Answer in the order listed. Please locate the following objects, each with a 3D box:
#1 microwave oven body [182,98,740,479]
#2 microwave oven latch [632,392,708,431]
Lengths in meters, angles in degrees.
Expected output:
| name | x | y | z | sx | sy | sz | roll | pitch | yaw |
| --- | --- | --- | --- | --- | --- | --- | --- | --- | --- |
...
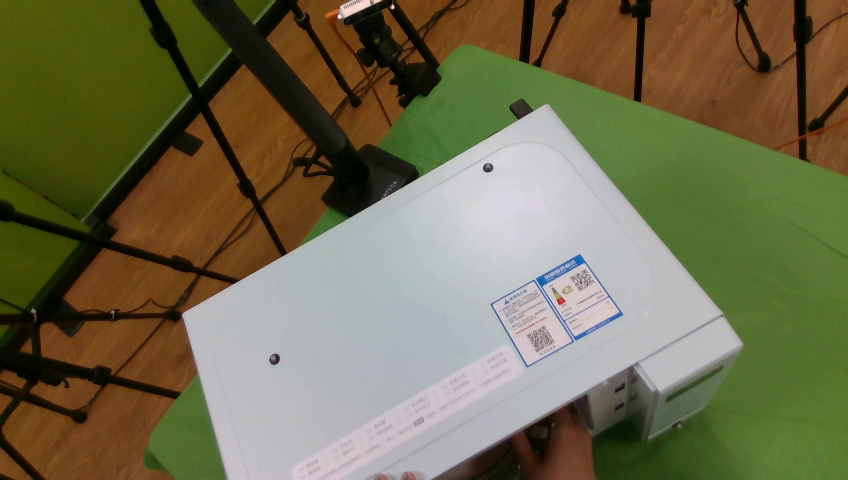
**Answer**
| name | x | y | z | sx | sy | sz | roll | pitch | yaw |
| --- | --- | --- | --- | --- | --- | --- | --- | --- | --- |
| microwave oven body | 0.028 | 0.116 | 0.659 | 0.442 | 0.263 | 0.322 | -31 | 60 | 1 |
| microwave oven latch | 0.270 | 0.179 | 0.666 | 0.079 | 0.030 | 0.030 | -29 | 60 | 2 |
